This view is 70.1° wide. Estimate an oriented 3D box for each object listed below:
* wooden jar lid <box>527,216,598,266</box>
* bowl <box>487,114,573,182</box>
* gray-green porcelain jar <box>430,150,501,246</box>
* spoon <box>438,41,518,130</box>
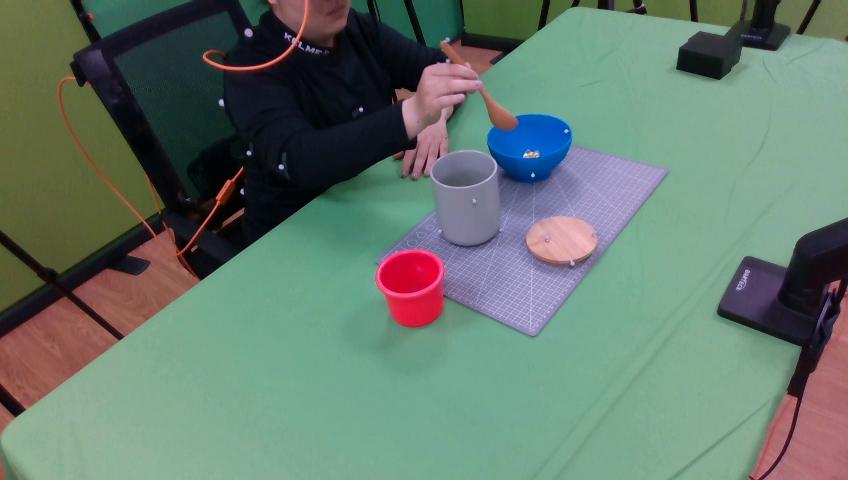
[{"bbox_3d":[0.214,0.003,0.937,0.108,0.021,0.108,-4,40,4],"label":"wooden jar lid"},{"bbox_3d":[0.190,-0.156,1.085,0.151,0.077,0.150,-5,40,5],"label":"bowl"},{"bbox_3d":[0.069,-0.062,0.959,0.106,0.127,0.105,-5,40,5],"label":"gray-green porcelain jar"},{"bbox_3d":[0.083,-0.235,0.934,0.041,0.195,0.021,-16,41,42],"label":"spoon"}]
